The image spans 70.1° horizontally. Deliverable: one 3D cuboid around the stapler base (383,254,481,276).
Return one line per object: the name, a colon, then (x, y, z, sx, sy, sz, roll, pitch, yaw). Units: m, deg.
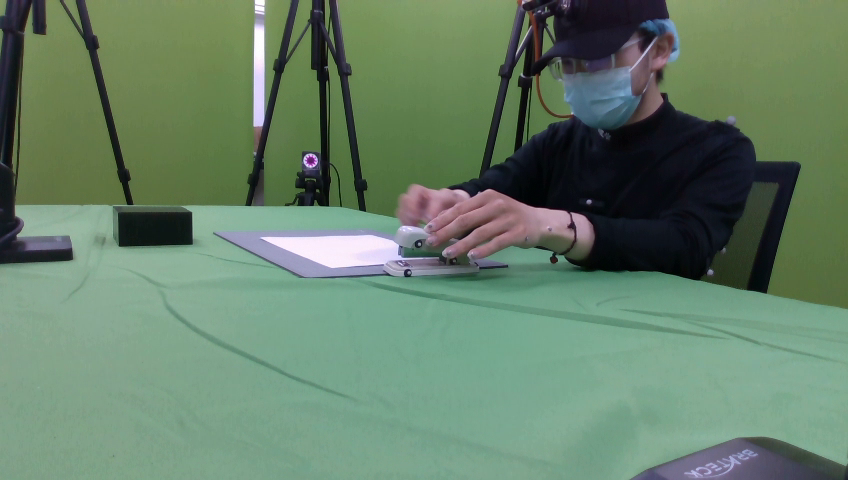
stapler base: (0.012, 0.027, 0.773, 0.131, 0.024, 0.041, 0, 17, -31)

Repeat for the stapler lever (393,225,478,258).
stapler lever: (0.016, 0.003, 0.768, 0.119, 0.040, 0.026, 1, 17, -31)
